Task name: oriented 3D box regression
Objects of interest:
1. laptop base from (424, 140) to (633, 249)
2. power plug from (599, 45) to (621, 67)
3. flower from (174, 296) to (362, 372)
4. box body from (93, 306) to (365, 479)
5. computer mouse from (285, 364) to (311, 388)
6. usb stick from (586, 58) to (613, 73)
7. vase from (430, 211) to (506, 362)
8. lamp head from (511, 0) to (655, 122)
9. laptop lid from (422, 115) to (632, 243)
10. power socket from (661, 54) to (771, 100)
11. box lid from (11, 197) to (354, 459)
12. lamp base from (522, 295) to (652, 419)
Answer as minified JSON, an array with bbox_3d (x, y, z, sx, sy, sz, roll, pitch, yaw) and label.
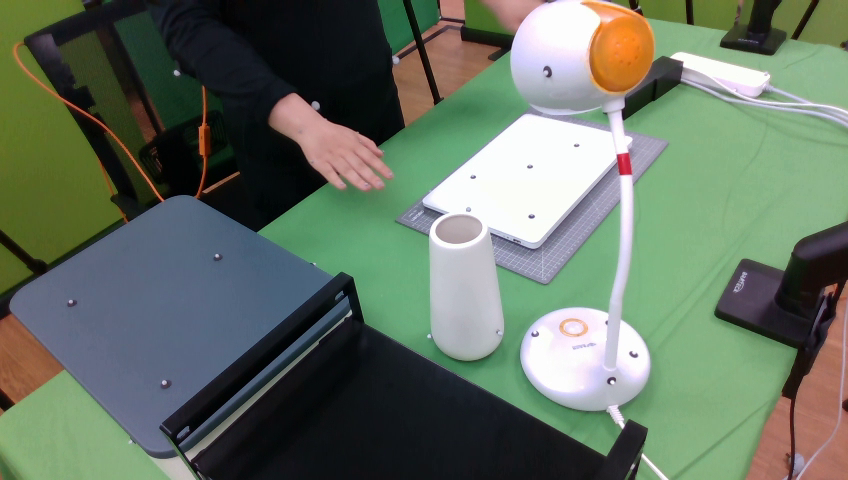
[{"bbox_3d":[0.194,-0.117,1.087,0.233,0.023,0.355,21,47,34],"label":"laptop base"},{"bbox_3d":[0.437,-0.422,1.412,0.053,0.035,0.072,-17,74,-47],"label":"power plug"},{"bbox_3d":[-0.233,0.115,0.832,0.359,0.044,0.038,10,-2,33],"label":"flower"},{"bbox_3d":[-0.281,0.128,0.759,0.361,0.161,0.255,24,49,32],"label":"box body"},{"bbox_3d":[-0.161,0.158,0.791,0.116,0.041,0.063,26,45,23],"label":"computer mouse"},{"bbox_3d":[0.401,-0.399,1.381,0.059,0.027,0.021,0,48,21],"label":"usb stick"},{"bbox_3d":[0.054,0.062,0.757,0.098,0.201,0.097,-3,40,3],"label":"vase"},{"bbox_3d":[0.155,-0.168,0.564,0.113,0.113,0.122,-18,23,-12],"label":"lamp head"},{"bbox_3d":[0.190,-0.126,1.081,0.239,0.013,0.358,23,48,34],"label":"laptop lid"},{"bbox_3d":[0.614,-0.348,1.285,0.072,0.033,0.225,-36,48,-29],"label":"power socket"},{"bbox_3d":[-0.288,0.072,0.710,0.368,0.015,0.264,24,50,32],"label":"box lid"},{"bbox_3d":[0.201,0.095,0.710,0.161,0.181,0.177,-16,43,-10],"label":"lamp base"}]
